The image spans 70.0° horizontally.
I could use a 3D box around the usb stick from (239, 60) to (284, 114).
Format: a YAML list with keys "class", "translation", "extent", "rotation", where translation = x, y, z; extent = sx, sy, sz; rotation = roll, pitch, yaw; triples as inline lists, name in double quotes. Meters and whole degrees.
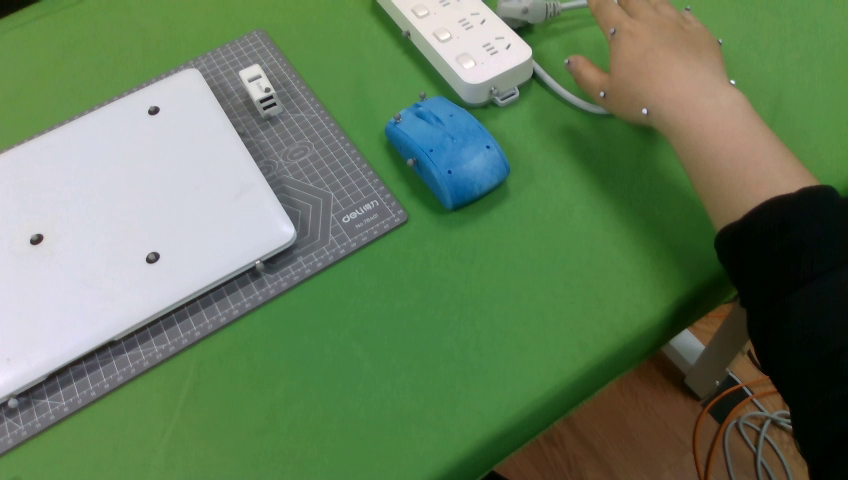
- class: "usb stick"
  translation: [-0.152, -0.145, 0.559]
  extent: [0.021, 0.027, 0.058]
  rotation: [-30, 57, -8]

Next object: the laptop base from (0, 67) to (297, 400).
- class: "laptop base"
  translation: [-0.303, 0.003, 0.493]
  extent: [0.354, 0.023, 0.233]
  rotation: [-30, 63, -12]

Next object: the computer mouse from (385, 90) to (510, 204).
- class: "computer mouse"
  translation: [0.016, -0.083, 0.496]
  extent: [0.063, 0.041, 0.116]
  rotation: [-31, 55, -9]

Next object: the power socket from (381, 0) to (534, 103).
- class: "power socket"
  translation: [0.021, -0.213, 0.580]
  extent: [0.072, 0.033, 0.224]
  rotation: [-28, 59, -10]

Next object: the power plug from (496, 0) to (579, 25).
- class: "power plug"
  translation: [0.105, -0.224, 0.582]
  extent: [0.073, 0.035, 0.052]
  rotation: [-1, 32, -19]

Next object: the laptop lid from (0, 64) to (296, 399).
- class: "laptop lid"
  translation: [-0.303, -0.001, 0.482]
  extent: [0.357, 0.013, 0.239]
  rotation: [-29, 61, -11]
